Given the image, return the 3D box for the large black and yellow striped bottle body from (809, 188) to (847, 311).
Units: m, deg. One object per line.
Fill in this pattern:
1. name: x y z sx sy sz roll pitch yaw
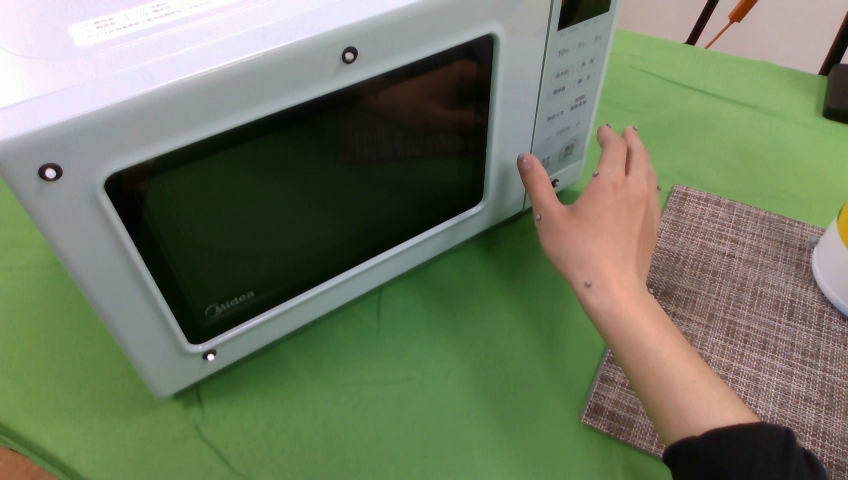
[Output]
1. large black and yellow striped bottle body: 0.405 -0.026 0.468 0.131 0.185 0.129 -1 47 1

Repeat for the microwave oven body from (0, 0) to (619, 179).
1. microwave oven body: -0.110 -0.147 0.541 0.442 0.262 0.322 -28 53 -21

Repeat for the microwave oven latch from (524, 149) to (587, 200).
1. microwave oven latch: 0.122 -0.070 0.596 0.079 0.030 0.030 -26 52 -20

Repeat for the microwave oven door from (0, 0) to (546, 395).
1. microwave oven door: -0.063 -0.046 0.440 0.356 0.246 0.039 -27 52 -22
